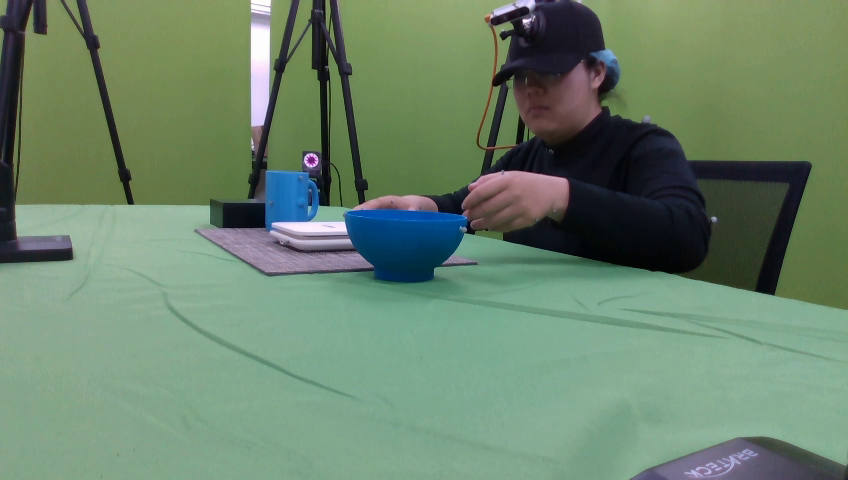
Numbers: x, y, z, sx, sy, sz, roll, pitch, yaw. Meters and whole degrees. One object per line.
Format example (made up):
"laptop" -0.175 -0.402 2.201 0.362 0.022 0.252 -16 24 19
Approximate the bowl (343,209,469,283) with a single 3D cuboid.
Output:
"bowl" -0.023 0.007 0.731 0.151 0.077 0.151 3 7 0

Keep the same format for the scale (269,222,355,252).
"scale" -0.130 -0.008 0.959 0.202 0.031 0.148 -1 9 -32

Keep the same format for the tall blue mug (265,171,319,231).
"tall blue mug" -0.248 -0.073 1.121 0.078 0.108 0.107 3 8 8
